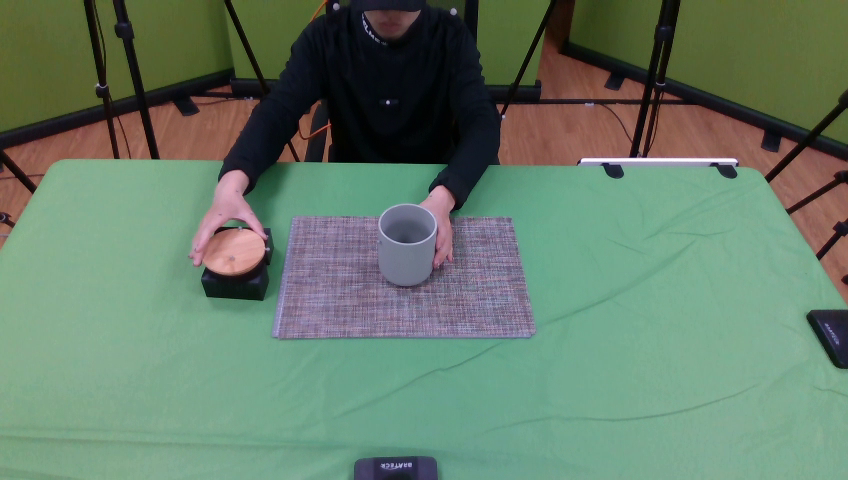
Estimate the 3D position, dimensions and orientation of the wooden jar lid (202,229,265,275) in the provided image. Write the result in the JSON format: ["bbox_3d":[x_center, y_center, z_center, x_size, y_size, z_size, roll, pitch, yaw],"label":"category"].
[{"bbox_3d":[-0.340,0.023,1.083,0.108,0.021,0.107,3,45,-2],"label":"wooden jar lid"}]

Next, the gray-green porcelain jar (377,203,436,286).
[{"bbox_3d":[-0.033,0.014,1.106,0.106,0.127,0.105,2,46,-2],"label":"gray-green porcelain jar"}]
